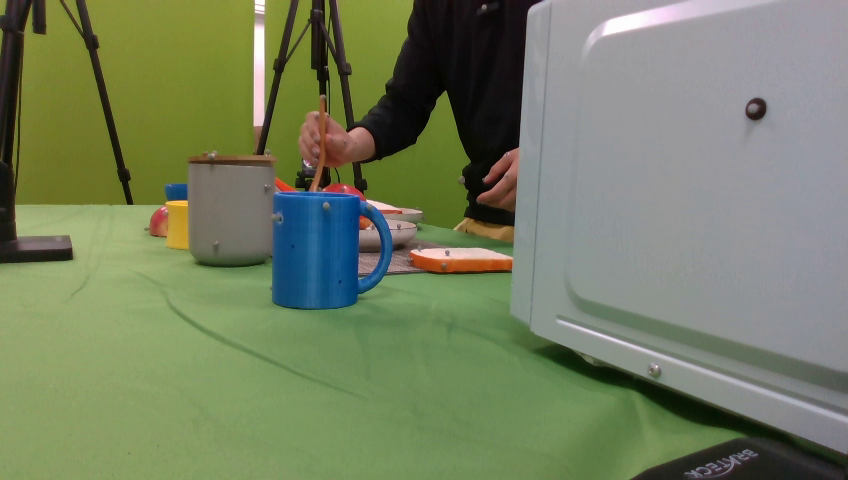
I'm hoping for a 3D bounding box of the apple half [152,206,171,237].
[{"bbox_3d":[-0.415,-0.034,1.017,0.081,0.053,0.074,1,10,-9],"label":"apple half"}]

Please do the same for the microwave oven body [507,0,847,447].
[{"bbox_3d":[0.331,-0.042,0.425,0.444,0.260,0.324,-2,8,-31],"label":"microwave oven body"}]

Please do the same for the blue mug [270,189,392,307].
[{"bbox_3d":[-0.089,0.005,0.588,0.117,0.106,0.082,1,7,-10],"label":"blue mug"}]

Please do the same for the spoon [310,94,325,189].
[{"bbox_3d":[-0.157,-0.120,0.902,0.022,0.193,0.041,6,3,-17],"label":"spoon"}]

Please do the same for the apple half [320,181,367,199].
[{"bbox_3d":[-0.128,-0.076,0.950,0.081,0.033,0.081,2,15,0],"label":"apple half"}]

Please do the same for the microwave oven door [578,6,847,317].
[{"bbox_3d":[0.294,-0.067,0.570,0.358,0.243,0.039,-3,9,-31],"label":"microwave oven door"}]

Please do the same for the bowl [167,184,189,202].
[{"bbox_3d":[-0.408,-0.064,1.154,0.151,0.077,0.151,2,8,0],"label":"bowl"}]

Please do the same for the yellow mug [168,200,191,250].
[{"bbox_3d":[-0.320,-0.023,0.904,0.130,0.064,0.100,8,10,36],"label":"yellow mug"}]

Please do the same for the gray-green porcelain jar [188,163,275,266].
[{"bbox_3d":[-0.246,-0.034,0.780,0.106,0.126,0.106,2,7,0],"label":"gray-green porcelain jar"}]

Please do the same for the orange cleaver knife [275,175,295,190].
[{"bbox_3d":[-0.283,-0.087,1.343,0.212,0.077,0.012,24,-16,-41],"label":"orange cleaver knife"}]

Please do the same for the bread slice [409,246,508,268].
[{"bbox_3d":[0.048,0.022,0.816,0.132,0.019,0.104,0,6,-24],"label":"bread slice"}]

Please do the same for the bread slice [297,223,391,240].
[{"bbox_3d":[-0.121,-0.015,0.970,0.106,0.018,0.135,9,8,41],"label":"bread slice"}]

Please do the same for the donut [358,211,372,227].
[{"bbox_3d":[-0.129,-0.041,0.957,0.099,0.048,0.099,3,8,0],"label":"donut"}]

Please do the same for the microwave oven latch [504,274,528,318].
[{"bbox_3d":[0.100,0.041,0.470,0.079,0.029,0.030,-1,7,-27],"label":"microwave oven latch"}]

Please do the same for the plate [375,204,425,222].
[{"bbox_3d":[-0.102,-0.053,1.299,0.209,0.038,0.209,2,8,0],"label":"plate"}]

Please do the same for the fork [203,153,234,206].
[{"bbox_3d":[-0.480,-0.136,1.411,0.028,0.018,0.207,1,-34,-1],"label":"fork"}]

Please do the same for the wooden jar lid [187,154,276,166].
[{"bbox_3d":[-0.244,-0.097,0.771,0.108,0.020,0.108,-1,7,0],"label":"wooden jar lid"}]

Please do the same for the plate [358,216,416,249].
[{"bbox_3d":[-0.116,-0.014,0.967,0.208,0.039,0.207,2,7,0],"label":"plate"}]
